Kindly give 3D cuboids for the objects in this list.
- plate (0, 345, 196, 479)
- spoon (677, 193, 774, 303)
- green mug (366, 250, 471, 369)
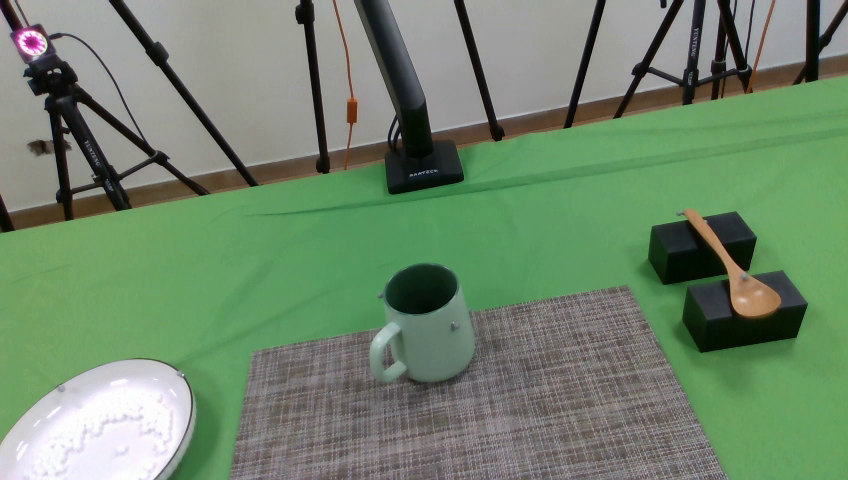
[{"bbox_3d":[-0.337,0.201,0.628,0.209,0.038,0.207,-6,40,6],"label":"plate"},{"bbox_3d":[0.311,0.001,0.645,0.041,0.022,0.191,-26,37,15],"label":"spoon"},{"bbox_3d":[-0.011,0.084,0.631,0.091,0.106,0.125,26,53,35],"label":"green mug"}]
